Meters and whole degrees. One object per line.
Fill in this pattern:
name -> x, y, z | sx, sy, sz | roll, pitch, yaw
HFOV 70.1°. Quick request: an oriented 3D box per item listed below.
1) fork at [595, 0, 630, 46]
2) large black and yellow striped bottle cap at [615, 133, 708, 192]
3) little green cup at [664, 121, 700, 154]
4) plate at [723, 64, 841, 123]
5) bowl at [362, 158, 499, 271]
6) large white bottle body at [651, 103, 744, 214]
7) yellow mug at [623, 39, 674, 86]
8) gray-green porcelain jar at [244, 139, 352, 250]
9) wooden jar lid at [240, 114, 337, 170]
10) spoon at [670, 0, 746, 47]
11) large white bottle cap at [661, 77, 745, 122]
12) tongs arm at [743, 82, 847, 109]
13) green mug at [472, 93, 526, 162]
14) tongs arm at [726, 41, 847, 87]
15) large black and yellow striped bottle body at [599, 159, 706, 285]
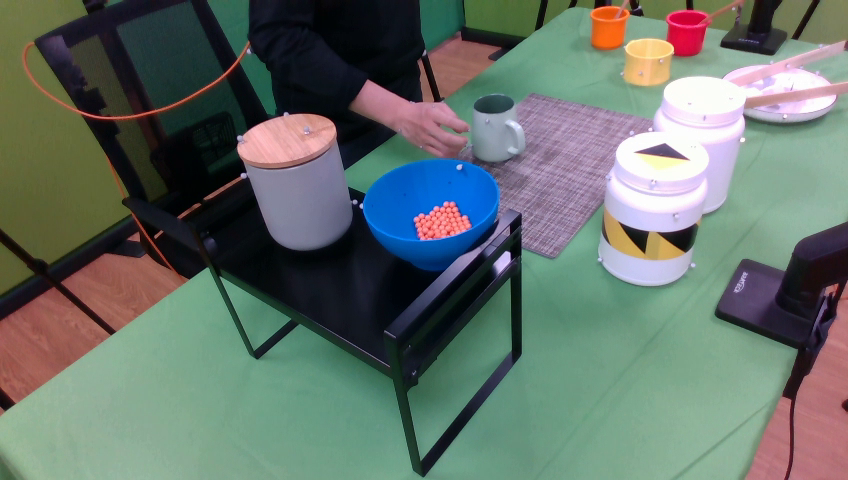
fork -> 0.480, -0.556, 1.452 | 0.028, 0.019, 0.207 | 42, 104, 40
large black and yellow striped bottle cap -> 0.312, -0.105, 0.798 | 0.115, 0.019, 0.114 | -5, 41, 5
little green cup -> 0.473, -0.188, 1.113 | 0.061, 0.039, 0.061 | -5, 40, 5
plate -> 0.695, -0.282, 1.189 | 0.207, 0.039, 0.206 | -4, 40, 4
bowl -> 0.011, -0.019, 0.679 | 0.151, 0.077, 0.150 | -5, 41, 5
large white bottle body -> 0.426, -0.146, 0.958 | 0.130, 0.185, 0.130 | -4, 40, 4
yellow mug -> 0.484, -0.398, 1.334 | 0.100, 0.064, 0.130 | -18, 41, -11
gray-green porcelain jar -> -0.144, -0.060, 0.714 | 0.106, 0.127, 0.105 | -4, 41, 4
wooden jar lid -> -0.149, -0.106, 0.673 | 0.108, 0.021, 0.108 | -6, 39, 5
spoon -> 0.629, -0.485, 1.350 | 0.022, 0.193, 0.042 | 47, 54, -7
large white bottle cap -> 0.415, -0.210, 0.904 | 0.115, 0.018, 0.114 | -4, 40, 4
tongs arm -> 0.738, -0.282, 1.133 | 0.388, 0.028, 0.028 | -9, 46, -5
green mug -> 0.144, -0.202, 1.122 | 0.093, 0.105, 0.124 | -29, 45, -23
tongs arm -> 0.712, -0.332, 1.194 | 0.386, 0.026, 0.050 | -18, 44, -16
large black and yellow striped bottle body -> 0.320, -0.042, 0.854 | 0.131, 0.185, 0.130 | -4, 41, 4
